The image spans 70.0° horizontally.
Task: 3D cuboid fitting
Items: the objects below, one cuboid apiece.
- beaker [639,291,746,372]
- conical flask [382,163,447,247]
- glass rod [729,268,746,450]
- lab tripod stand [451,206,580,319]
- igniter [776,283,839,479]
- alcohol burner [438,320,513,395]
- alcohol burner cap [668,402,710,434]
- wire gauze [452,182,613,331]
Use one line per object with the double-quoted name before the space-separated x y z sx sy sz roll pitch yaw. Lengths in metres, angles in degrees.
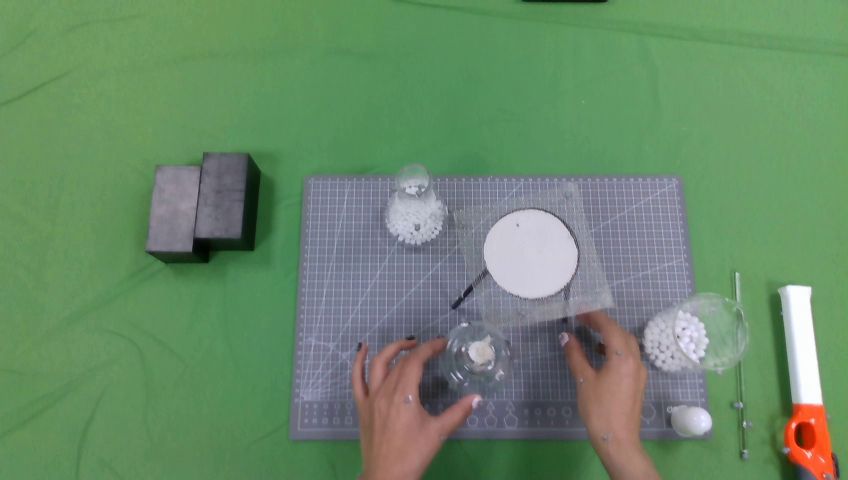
"beaker" 0.274 0.097 0.626 0.084 0.101 0.073 -36 78 -10
"conical flask" -0.011 -0.043 0.651 0.075 0.122 0.075 0 74 0
"glass rod" 0.346 0.128 0.669 0.008 0.008 0.198 4 75 1
"lab tripod stand" 0.098 0.031 0.626 0.148 0.132 0.147 0 76 0
"igniter" 0.406 0.183 0.644 0.057 0.025 0.275 5 75 -9
"alcohol burner" 0.053 0.116 0.612 0.078 0.120 0.077 0 73 2
"alcohol burner cap" 0.279 0.185 0.632 0.034 0.048 0.033 0 73 0
"wire gauze" 0.099 0.014 0.560 0.125 0.011 0.121 -12 75 -3
